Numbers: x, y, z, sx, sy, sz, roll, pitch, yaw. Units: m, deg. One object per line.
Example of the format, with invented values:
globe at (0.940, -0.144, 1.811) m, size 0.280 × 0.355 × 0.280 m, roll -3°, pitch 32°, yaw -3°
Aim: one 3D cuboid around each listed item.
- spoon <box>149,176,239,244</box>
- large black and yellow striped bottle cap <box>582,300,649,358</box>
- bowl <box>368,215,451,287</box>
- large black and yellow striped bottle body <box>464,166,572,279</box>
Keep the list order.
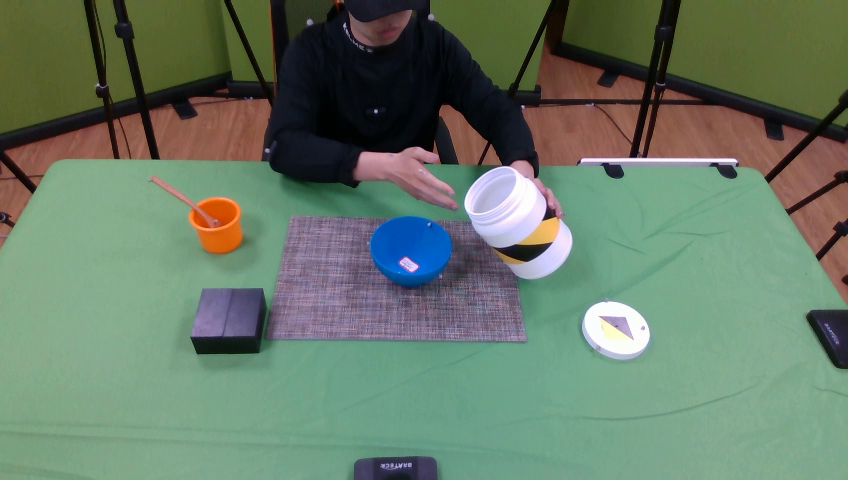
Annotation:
spoon at (-0.427, -0.057, 1.132) m, size 0.021 × 0.195 × 0.041 m, roll -27°, pitch 31°, yaw 34°
large black and yellow striped bottle cap at (0.340, 0.157, 1.077) m, size 0.115 × 0.019 × 0.114 m, roll 1°, pitch 47°, yaw -1°
bowl at (-0.028, 0.033, 1.119) m, size 0.151 × 0.077 × 0.150 m, roll 2°, pitch 46°, yaw -2°
large black and yellow striped bottle body at (0.164, -0.032, 1.070) m, size 0.131 × 0.185 × 0.130 m, roll -28°, pitch 37°, yaw 24°
